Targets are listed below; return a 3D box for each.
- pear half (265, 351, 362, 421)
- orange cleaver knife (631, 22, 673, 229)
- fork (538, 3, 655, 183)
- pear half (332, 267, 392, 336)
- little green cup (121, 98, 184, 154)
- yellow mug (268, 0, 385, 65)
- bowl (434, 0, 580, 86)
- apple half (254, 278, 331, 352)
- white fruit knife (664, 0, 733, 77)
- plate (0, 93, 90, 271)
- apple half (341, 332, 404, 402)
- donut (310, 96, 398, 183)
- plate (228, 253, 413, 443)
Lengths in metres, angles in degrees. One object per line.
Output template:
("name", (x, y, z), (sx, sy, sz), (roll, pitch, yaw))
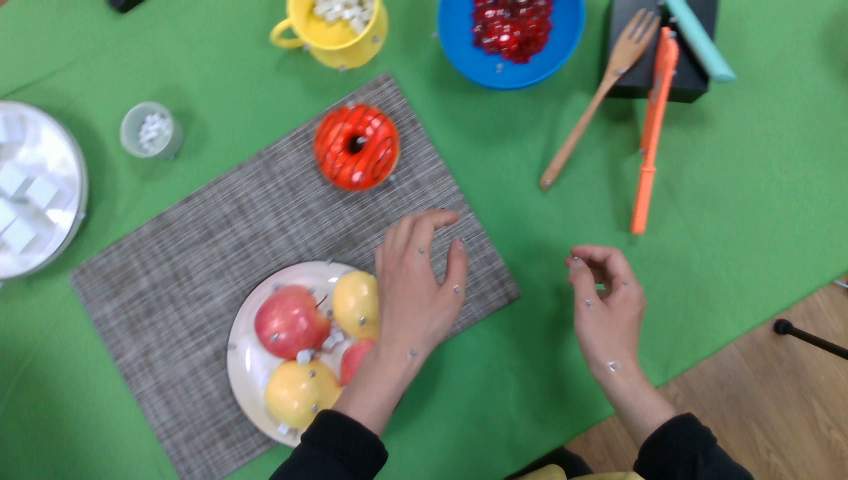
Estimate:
("pear half", (-0.120, 0.168, 0.666), (0.110, 0.056, 0.076), (20, 94, 2))
("orange cleaver knife", (0.238, -0.117, 0.640), (0.012, 0.077, 0.212), (5, 115, 10))
("fork", (0.177, -0.149, 0.643), (0.028, 0.018, 0.208), (27, 111, -3))
("pear half", (-0.073, 0.075, 0.665), (0.070, 0.031, 0.088), (-8, 91, 25))
("little green cup", (-0.313, -0.130, 0.706), (0.061, 0.038, 0.061), (0, 89, 5))
("yellow mug", (-0.113, -0.250, 0.679), (0.131, 0.064, 0.100), (-21, 87, 5))
("bowl", (0.087, -0.234, 0.657), (0.151, 0.077, 0.151), (0, 89, 4))
("apple half", (-0.149, 0.085, 0.667), (0.074, 0.053, 0.081), (-26, 90, 5))
("white fruit knife", (0.255, -0.254, 0.626), (0.027, 0.016, 0.207), (-28, 84, -26))
("plate", (-0.491, -0.067, 0.718), (0.207, 0.039, 0.207), (0, 89, 5))
("apple half", (-0.065, 0.142, 0.660), (0.081, 0.033, 0.081), (5, 103, 22))
("donut", (-0.078, -0.112, 0.680), (0.099, 0.048, 0.099), (0, 90, 6))
("plate", (-0.113, 0.119, 0.681), (0.209, 0.038, 0.209), (0, 88, 5))
